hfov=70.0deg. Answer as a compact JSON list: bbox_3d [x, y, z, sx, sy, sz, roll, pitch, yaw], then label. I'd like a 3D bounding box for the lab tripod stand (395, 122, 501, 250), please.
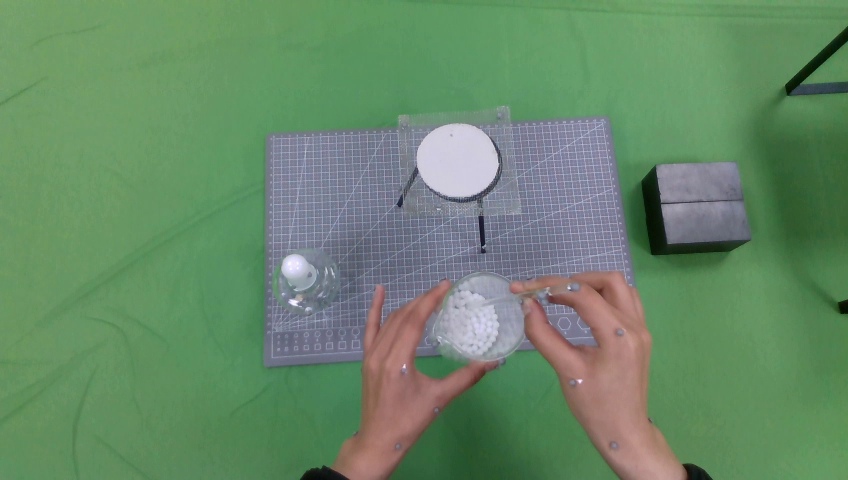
[{"bbox_3d":[0.037,-0.070,0.702,0.148,0.132,0.147,0,73,0],"label":"lab tripod stand"}]

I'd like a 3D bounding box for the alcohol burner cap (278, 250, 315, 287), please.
[{"bbox_3d":[-0.137,0.029,0.643,0.034,0.048,0.033,-1,69,3],"label":"alcohol burner cap"}]

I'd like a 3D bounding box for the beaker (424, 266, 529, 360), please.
[{"bbox_3d":[0.038,0.071,0.537,0.084,0.100,0.073,-17,80,-12],"label":"beaker"}]

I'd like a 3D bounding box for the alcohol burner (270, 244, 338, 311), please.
[{"bbox_3d":[-0.137,0.039,0.678,0.078,0.119,0.077,0,76,-2],"label":"alcohol burner"}]

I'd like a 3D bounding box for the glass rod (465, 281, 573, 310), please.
[{"bbox_3d":[0.068,0.047,0.485,0.008,0.199,0.008,3,79,-15],"label":"glass rod"}]

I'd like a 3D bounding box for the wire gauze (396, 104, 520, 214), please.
[{"bbox_3d":[0.034,-0.084,0.636,0.125,0.011,0.121,-2,75,-2],"label":"wire gauze"}]
